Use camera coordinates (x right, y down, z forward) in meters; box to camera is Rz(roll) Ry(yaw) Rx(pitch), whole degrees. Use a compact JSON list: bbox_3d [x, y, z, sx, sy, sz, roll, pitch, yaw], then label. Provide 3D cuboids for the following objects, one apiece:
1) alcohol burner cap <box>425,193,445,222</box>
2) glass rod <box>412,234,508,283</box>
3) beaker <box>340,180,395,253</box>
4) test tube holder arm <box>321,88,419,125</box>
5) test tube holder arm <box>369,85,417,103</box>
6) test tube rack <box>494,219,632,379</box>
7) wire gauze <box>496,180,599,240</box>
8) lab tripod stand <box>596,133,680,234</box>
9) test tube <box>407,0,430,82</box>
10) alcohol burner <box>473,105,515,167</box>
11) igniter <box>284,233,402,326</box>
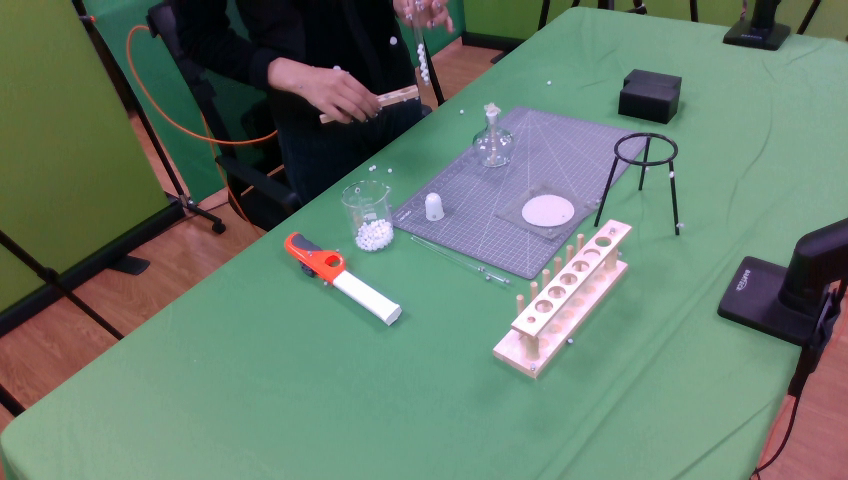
[{"bbox_3d":[0.017,-0.058,1.029,0.034,0.048,0.033,-6,40,5],"label":"alcohol burner cap"},{"bbox_3d":[0.051,0.028,0.951,0.198,0.008,0.008,25,52,37],"label":"glass rod"},{"bbox_3d":[-0.087,-0.037,0.985,0.084,0.101,0.073,-18,41,-11],"label":"beaker"},{"bbox_3d":[-0.094,-0.235,1.061,0.179,0.015,0.013,-19,45,-4],"label":"test tube holder arm"},{"bbox_3d":[-0.053,-0.253,1.068,0.088,0.015,0.010,-19,45,-4],"label":"test tube holder arm"},{"bbox_3d":[0.191,0.068,0.818,0.066,0.085,0.243,25,51,35],"label":"test tube rack"},{"bbox_3d":[0.206,-0.050,1.012,0.125,0.011,0.120,-34,45,-26],"label":"wire gauze"},{"bbox_3d":[0.338,-0.091,0.940,0.148,0.132,0.147,-7,39,6],"label":"lab tripod stand"},{"bbox_3d":[-0.009,-0.337,1.009,0.017,0.151,0.017,-8,33,6],"label":"test tube"},{"bbox_3d":[0.128,-0.196,1.116,0.078,0.119,0.077,-4,39,4],"label":"alcohol burner"},{"bbox_3d":[-0.136,0.054,0.942,0.274,0.025,0.057,30,63,37],"label":"igniter"}]
